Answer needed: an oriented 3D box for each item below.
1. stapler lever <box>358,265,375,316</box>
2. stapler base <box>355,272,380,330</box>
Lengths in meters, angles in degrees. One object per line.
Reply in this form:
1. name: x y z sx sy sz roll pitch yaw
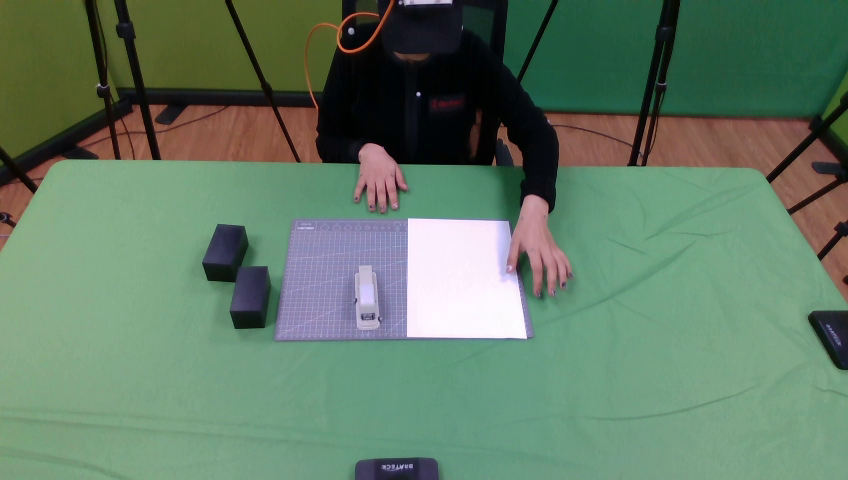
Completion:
1. stapler lever: -0.102 0.083 1.070 0.027 0.040 0.117 -1 44 -8
2. stapler base: -0.103 0.102 1.087 0.041 0.024 0.129 -1 45 -8
